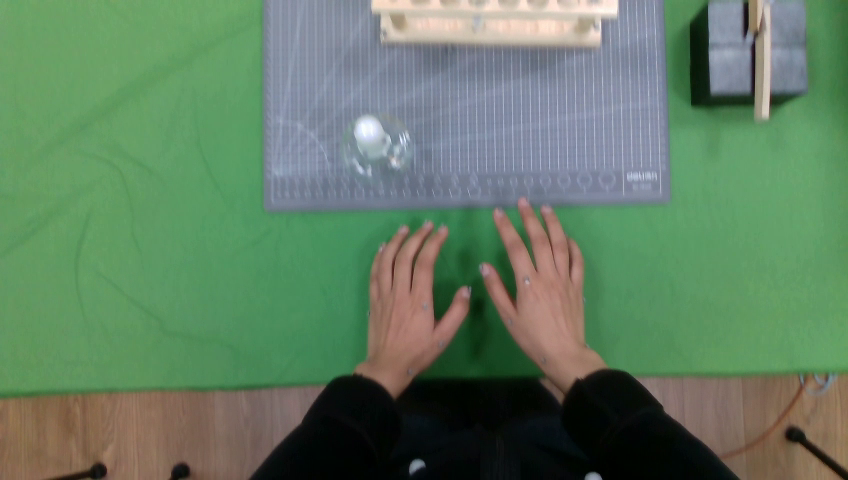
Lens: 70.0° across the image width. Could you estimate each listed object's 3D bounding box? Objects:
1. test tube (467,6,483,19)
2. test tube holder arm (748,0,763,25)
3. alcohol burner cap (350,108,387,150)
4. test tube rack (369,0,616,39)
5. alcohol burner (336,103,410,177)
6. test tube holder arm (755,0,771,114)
[{"bbox_3d":[0.054,-0.253,0.586,0.017,0.150,0.017,0,85,0],"label":"test tube"},{"bbox_3d":[0.336,-0.263,0.616,0.010,0.015,0.087,0,88,-6],"label":"test tube holder arm"},{"bbox_3d":[-0.055,-0.108,0.584,0.034,0.048,0.033,-1,82,5],"label":"alcohol burner cap"},{"bbox_3d":[0.069,-0.262,0.636,0.242,0.085,0.066,2,88,2],"label":"test tube rack"},{"bbox_3d":[-0.054,-0.106,0.619,0.078,0.119,0.078,0,86,1],"label":"alcohol burner"},{"bbox_3d":[0.343,-0.218,0.615,0.013,0.015,0.178,-1,88,-6],"label":"test tube holder arm"}]
